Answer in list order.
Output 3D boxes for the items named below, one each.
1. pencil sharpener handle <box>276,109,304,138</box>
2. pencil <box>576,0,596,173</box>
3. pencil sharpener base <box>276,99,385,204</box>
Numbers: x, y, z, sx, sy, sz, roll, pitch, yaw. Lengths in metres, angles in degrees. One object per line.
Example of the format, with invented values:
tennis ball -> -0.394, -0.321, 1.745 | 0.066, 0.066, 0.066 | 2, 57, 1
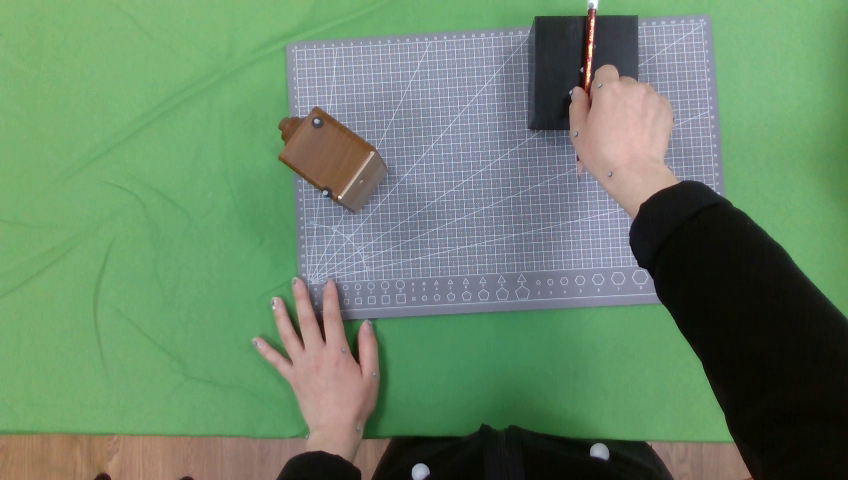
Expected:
pencil sharpener handle -> -0.130, -0.116, 0.581 | 0.030, 0.068, 0.036 | 37, 98, 4
pencil -> 0.156, -0.161, 0.585 | 0.012, 0.012, 0.194 | 4, 89, 2
pencil sharpener base -> -0.089, -0.084, 0.591 | 0.076, 0.107, 0.061 | 36, 90, 3
